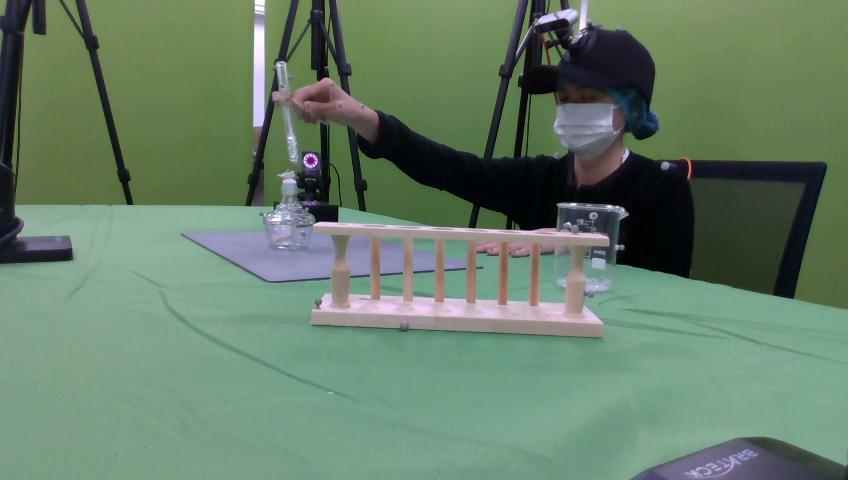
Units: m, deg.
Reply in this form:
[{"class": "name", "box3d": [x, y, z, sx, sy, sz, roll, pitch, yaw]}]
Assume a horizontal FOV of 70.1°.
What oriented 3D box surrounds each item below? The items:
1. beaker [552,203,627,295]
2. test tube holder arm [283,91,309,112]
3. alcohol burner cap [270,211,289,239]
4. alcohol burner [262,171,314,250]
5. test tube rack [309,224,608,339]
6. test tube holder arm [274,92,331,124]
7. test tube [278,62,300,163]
[{"class": "beaker", "box3d": [0.191, 0.010, 0.708, 0.083, 0.100, 0.074, 8, 9, 33]}, {"class": "test tube holder arm", "box3d": [-0.194, -0.209, 0.920, 0.010, 0.015, 0.088, -6, -1, 7]}, {"class": "alcohol burner cap", "box3d": [-0.246, -0.026, 1.035, 0.034, 0.048, 0.034, 2, 8, 0]}, {"class": "alcohol burner", "box3d": [-0.205, -0.045, 0.913, 0.078, 0.119, 0.078, 1, 9, 0]}, {"class": "test tube rack", "box3d": [0.028, 0.032, 0.528, 0.242, 0.085, 0.067, 3, 7, 0]}, {"class": "test tube holder arm", "box3d": [-0.190, -0.208, 0.965, 0.013, 0.015, 0.179, -5, -1, 14]}, {"class": "test tube", "box3d": [-0.200, -0.189, 0.897, 0.017, 0.150, 0.017, -7, -1, 0]}]
